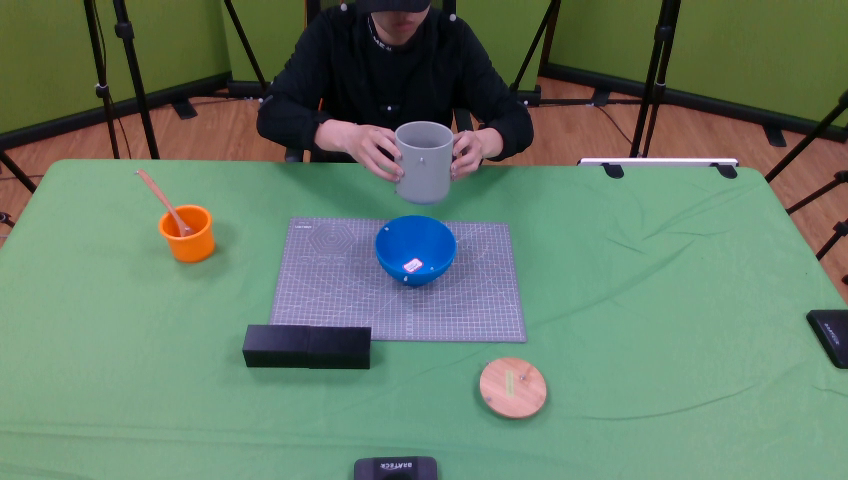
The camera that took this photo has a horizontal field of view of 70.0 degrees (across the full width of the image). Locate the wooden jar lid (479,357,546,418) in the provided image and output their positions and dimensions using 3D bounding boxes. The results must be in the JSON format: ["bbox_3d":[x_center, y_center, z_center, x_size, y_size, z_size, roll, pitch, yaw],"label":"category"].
[{"bbox_3d":[0.142,0.240,0.979,0.108,0.021,0.107,1,46,-1],"label":"wooden jar lid"}]

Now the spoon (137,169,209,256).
[{"bbox_3d":[-0.465,-0.051,1.123,0.041,0.194,0.021,-40,17,-33],"label":"spoon"}]

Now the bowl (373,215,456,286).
[{"bbox_3d":[-0.019,0.032,1.123,0.151,0.077,0.150,2,46,-2],"label":"bowl"}]

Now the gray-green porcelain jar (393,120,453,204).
[{"bbox_3d":[-0.004,-0.138,1.104,0.106,0.127,0.105,2,38,-1],"label":"gray-green porcelain jar"}]
